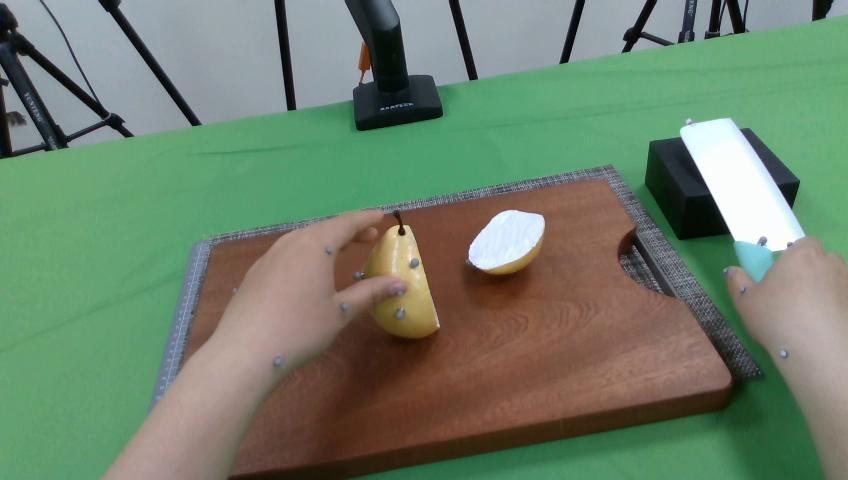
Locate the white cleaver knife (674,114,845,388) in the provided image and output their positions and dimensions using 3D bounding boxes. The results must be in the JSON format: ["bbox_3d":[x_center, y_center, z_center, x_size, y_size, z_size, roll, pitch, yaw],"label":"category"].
[{"bbox_3d":[0.281,-0.012,0.506,0.066,0.022,0.283,-8,53,5],"label":"white cleaver knife"}]

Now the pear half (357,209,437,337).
[{"bbox_3d":[-0.025,0.024,0.458,0.056,0.111,0.075,-16,36,-8],"label":"pear half"}]

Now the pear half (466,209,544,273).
[{"bbox_3d":[0.073,0.004,0.523,0.070,0.031,0.087,-16,24,15],"label":"pear half"}]
